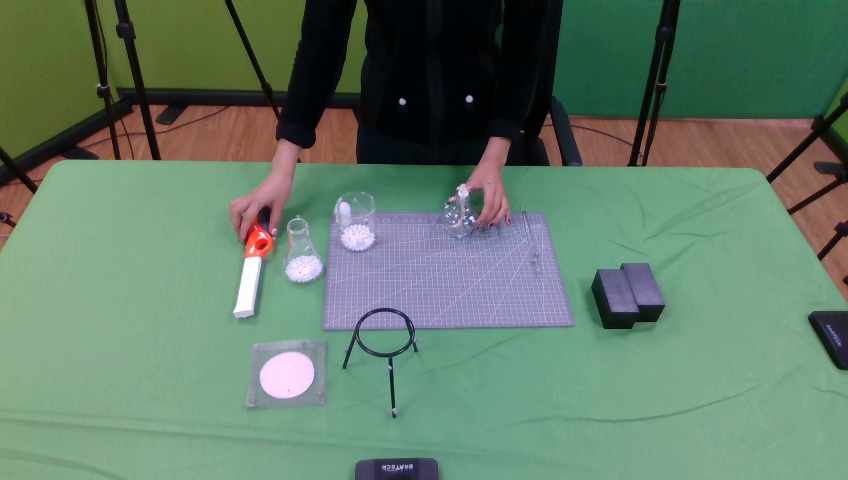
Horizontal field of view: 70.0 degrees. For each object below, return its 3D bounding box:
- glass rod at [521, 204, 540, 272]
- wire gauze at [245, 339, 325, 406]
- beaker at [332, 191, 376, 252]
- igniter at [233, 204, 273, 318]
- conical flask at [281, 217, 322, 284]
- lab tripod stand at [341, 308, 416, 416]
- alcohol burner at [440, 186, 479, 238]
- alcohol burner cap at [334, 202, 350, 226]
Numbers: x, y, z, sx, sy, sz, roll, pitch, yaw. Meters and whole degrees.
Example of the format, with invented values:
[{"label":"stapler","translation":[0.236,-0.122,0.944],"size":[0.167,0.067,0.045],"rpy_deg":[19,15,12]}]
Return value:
[{"label":"glass rod","translation":[0.215,-0.008,1.230],"size":[0.008,0.008,0.198],"rpy_deg":[0,43,-3]},{"label":"wire gauze","translation":[-0.224,0.215,0.985],"size":[0.125,0.011,0.120],"rpy_deg":[-2,46,-5]},{"label":"beaker","translation":[-0.133,-0.032,1.163],"size":[0.084,0.101,0.073],"rpy_deg":[-19,50,-20]},{"label":"igniter","translation":[-0.321,0.029,1.143],"size":[0.057,0.025,0.274],"rpy_deg":[-7,46,4]},{"label":"conical flask","translation":[-0.225,0.016,1.097],"size":[0.075,0.122,0.075],"rpy_deg":[2,46,-2]},{"label":"lab tripod stand","translation":[-0.061,0.177,0.946],"size":[0.148,0.132,0.147],"rpy_deg":[2,44,-2]},{"label":"alcohol burner","translation":[0.072,-0.062,1.198],"size":[0.078,0.119,0.077],"rpy_deg":[4,47,-4]},{"label":"alcohol burner cap","translation":[-0.166,-0.055,1.222],"size":[0.034,0.048,0.033],"rpy_deg":[2,46,-2]}]
